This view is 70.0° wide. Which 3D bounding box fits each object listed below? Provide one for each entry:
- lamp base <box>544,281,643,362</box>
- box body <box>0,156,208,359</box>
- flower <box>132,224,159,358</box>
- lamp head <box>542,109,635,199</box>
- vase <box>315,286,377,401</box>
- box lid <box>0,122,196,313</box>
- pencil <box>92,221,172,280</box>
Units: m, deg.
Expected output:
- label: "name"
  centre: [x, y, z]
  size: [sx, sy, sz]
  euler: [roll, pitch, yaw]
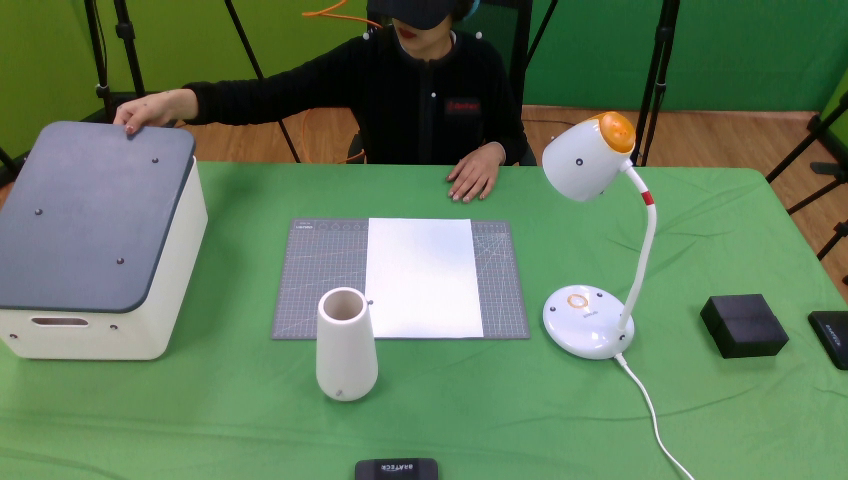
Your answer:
- label: "lamp base"
  centre: [0.304, 0.095, 1.014]
  size: [0.161, 0.181, 0.178]
  euler: [-24, 54, -24]
- label: "box body"
  centre: [-0.541, 0.021, 1.042]
  size: [0.254, 0.161, 0.361]
  euler: [1, 46, -3]
- label: "flower"
  centre: [-0.505, 0.074, 1.095]
  size: [0.044, 0.038, 0.359]
  euler: [-40, 42, 9]
- label: "lamp head"
  centre: [0.253, -0.131, 0.893]
  size: [0.113, 0.123, 0.112]
  euler: [10, 66, -24]
- label: "vase"
  centre: [-0.119, 0.159, 0.911]
  size: [0.098, 0.201, 0.097]
  euler: [2, 47, -2]
- label: "box lid"
  centre: [-0.531, -0.052, 0.964]
  size: [0.263, 0.015, 0.369]
  euler: [3, 54, -3]
- label: "pencil"
  centre: [-0.550, 0.015, 1.153]
  size: [0.012, 0.012, 0.193]
  euler: [21, 43, 16]
